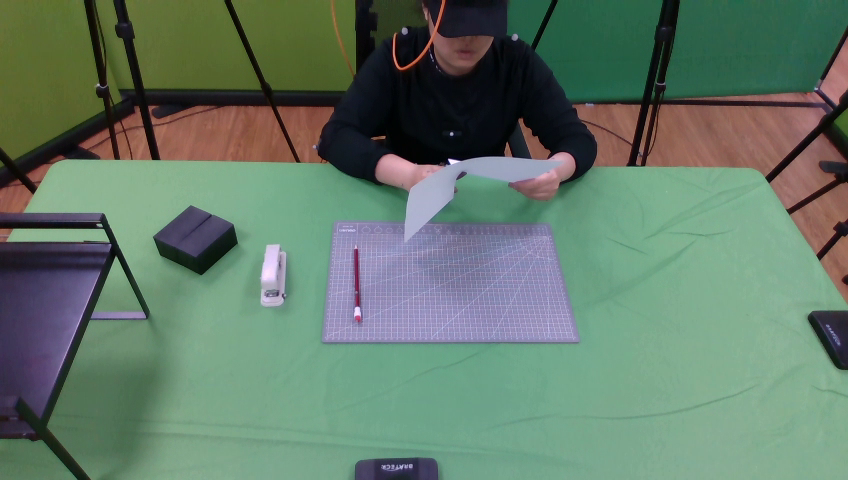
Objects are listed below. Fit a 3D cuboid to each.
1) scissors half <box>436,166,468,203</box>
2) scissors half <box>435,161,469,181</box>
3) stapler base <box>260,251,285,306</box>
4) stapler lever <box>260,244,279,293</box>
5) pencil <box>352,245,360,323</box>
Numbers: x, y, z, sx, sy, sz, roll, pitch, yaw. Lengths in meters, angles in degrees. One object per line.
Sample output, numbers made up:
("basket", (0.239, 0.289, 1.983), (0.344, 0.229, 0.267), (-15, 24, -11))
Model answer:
("scissors half", (0.055, -0.110, 1.172), (0.013, 0.175, 0.040), (-7, 76, -18))
("scissors half", (0.054, -0.131, 1.172), (0.013, 0.040, 0.174), (-1, 10, -18))
("stapler base", (-0.279, 0.064, 1.113), (0.041, 0.024, 0.129), (-2, 44, -9))
("stapler lever", (-0.279, 0.045, 1.096), (0.027, 0.040, 0.117), (-2, 44, -9))
("pencil", (-0.127, 0.076, 1.120), (0.012, 0.012, 0.192), (-2, 44, -7))
